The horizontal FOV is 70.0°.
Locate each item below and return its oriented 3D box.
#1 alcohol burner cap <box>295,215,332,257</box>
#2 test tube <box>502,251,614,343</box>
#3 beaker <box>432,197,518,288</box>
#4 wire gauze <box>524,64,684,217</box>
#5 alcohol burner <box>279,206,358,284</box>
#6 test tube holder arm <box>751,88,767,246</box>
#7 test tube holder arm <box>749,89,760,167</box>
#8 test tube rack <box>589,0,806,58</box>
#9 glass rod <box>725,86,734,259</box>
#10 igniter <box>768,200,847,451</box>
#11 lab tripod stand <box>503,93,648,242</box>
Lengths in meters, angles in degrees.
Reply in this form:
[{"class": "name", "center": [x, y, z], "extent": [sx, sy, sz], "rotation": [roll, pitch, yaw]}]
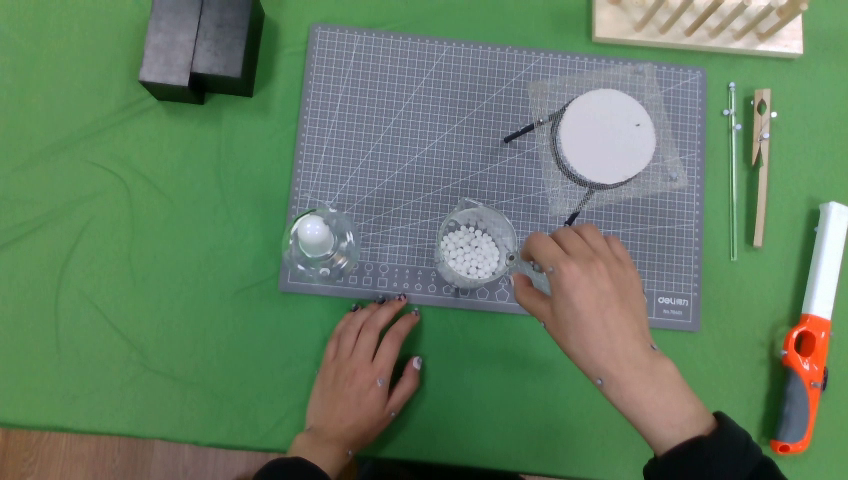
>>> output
[{"class": "alcohol burner cap", "center": [-0.102, -0.007, 0.550], "extent": [0.034, 0.048, 0.033], "rotation": [2, 72, -5]}, {"class": "test tube", "center": [0.125, 0.054, 0.547], "extent": [0.151, 0.017, 0.017], "rotation": [37, 80, -27]}, {"class": "beaker", "center": [0.044, 0.007, 0.600], "extent": [0.074, 0.100, 0.083], "rotation": [-16, 82, -6]}, {"class": "wire gauze", "center": [0.157, -0.091, 0.536], "extent": [0.121, 0.011, 0.124], "rotation": [-10, 82, -3]}, {"class": "alcohol burner", "center": [-0.104, 0.001, 0.585], "extent": [0.078, 0.119, 0.077], "rotation": [1, 79, -2]}, {"class": "test tube holder arm", "center": [0.373, -0.082, 0.674], "extent": [0.013, 0.015, 0.178], "rotation": [1, 81, 31]}, {"class": "test tube holder arm", "center": [0.373, -0.126, 0.683], "extent": [0.010, 0.015, 0.087], "rotation": [1, 81, 31]}, {"class": "test tube rack", "center": [0.313, -0.258, 0.663], "extent": [0.242, 0.085, 0.066], "rotation": [3, 81, -3]}, {"class": "glass rod", "center": [0.342, -0.078, 0.678], "extent": [0.008, 0.008, 0.199], "rotation": [4, 81, -3]}, {"class": "igniter", "center": [0.413, 0.091, 0.649], "extent": [0.057, 0.025, 0.275], "rotation": [18, 81, -10]}, {"class": "lab tripod stand", "center": [0.149, -0.080, 0.601], "extent": [0.148, 0.132, 0.148], "rotation": [0, 82, -1]}]
